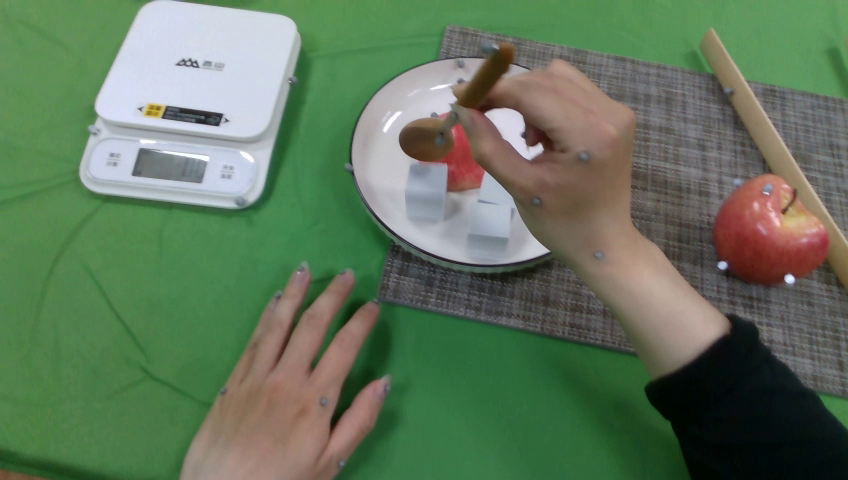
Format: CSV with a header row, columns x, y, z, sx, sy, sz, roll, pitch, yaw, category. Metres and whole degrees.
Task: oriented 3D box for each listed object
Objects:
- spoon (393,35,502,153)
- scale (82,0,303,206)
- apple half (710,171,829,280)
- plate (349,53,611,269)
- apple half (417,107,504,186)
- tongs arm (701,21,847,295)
x,y,z,sx,sy,sz,roll,pitch,yaw,category
0.013,-0.083,0.378,0.042,0.193,0.021,17,84,-11,spoon
-0.194,-0.125,0.523,0.149,0.032,0.199,7,62,0,scale
0.250,-0.004,0.459,0.053,0.075,0.080,-23,69,-11,apple half
0.044,-0.065,0.498,0.209,0.038,0.207,2,61,-3,plate
0.032,-0.084,0.501,0.081,0.033,0.080,1,59,-2,apple half
0.325,-0.040,0.508,0.028,0.028,0.384,-9,63,-13,tongs arm
